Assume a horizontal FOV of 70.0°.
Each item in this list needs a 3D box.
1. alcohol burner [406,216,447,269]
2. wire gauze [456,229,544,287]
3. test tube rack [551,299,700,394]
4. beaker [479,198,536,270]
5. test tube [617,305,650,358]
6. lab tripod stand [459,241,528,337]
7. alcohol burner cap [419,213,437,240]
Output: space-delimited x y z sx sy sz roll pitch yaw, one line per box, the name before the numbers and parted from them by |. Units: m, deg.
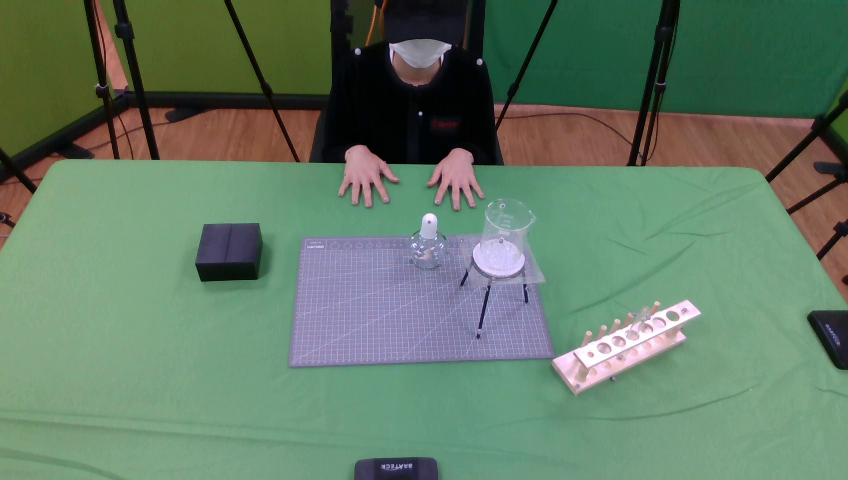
alcohol burner | 0.006 -0.002 1.134 0.078 0.120 0.077 2 48 -2
wire gauze | 0.125 0.030 1.008 0.125 0.011 0.120 -3 48 -11
test tube rack | 0.339 0.166 1.021 0.242 0.085 0.066 -19 50 -21
beaker | 0.131 -0.007 0.975 0.084 0.101 0.073 3 46 -3
test tube | 0.333 0.149 0.967 0.017 0.151 0.017 0 52 1
lab tripod stand | 0.122 0.075 1.054 0.148 0.132 0.147 3 44 -3
alcohol burner cap | 0.009 -0.027 1.109 0.034 0.048 0.033 3 44 -3
